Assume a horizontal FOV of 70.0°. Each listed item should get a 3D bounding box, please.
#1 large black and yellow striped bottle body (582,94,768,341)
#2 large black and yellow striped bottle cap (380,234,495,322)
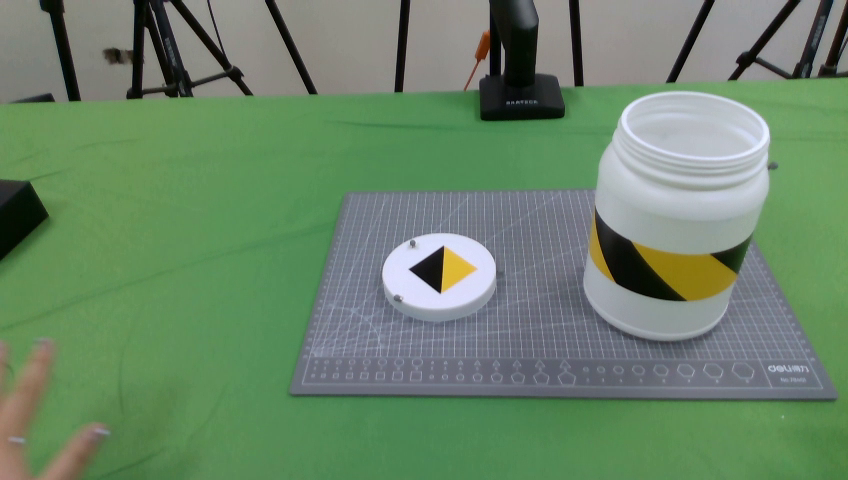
[{"bbox_3d":[0.211,-0.018,0.523,0.131,0.186,0.129,-3,39,3],"label":"large black and yellow striped bottle body"},{"bbox_3d":[0.013,0.035,0.609,0.115,0.019,0.114,-1,40,2],"label":"large black and yellow striped bottle cap"}]
